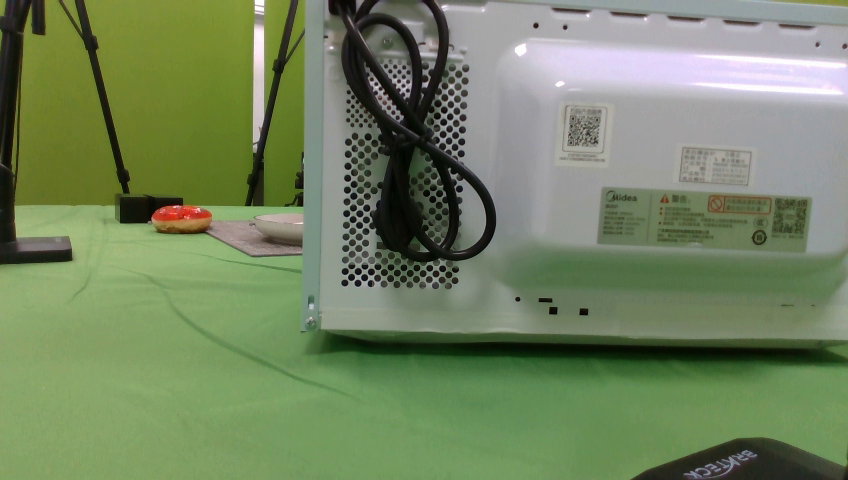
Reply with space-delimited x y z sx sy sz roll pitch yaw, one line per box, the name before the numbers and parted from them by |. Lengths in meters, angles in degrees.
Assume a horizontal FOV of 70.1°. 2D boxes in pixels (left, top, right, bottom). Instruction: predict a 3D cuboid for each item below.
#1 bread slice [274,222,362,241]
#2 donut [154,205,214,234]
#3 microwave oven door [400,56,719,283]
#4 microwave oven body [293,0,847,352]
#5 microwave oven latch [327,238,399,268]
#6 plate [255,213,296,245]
bread slice | -0.181 -0.016 1.011 0.104 0.019 0.132 6 8 27
donut | -0.426 -0.037 1.075 0.099 0.048 0.099 2 12 0
microwave oven door | 0.155 -0.078 0.697 0.356 0.243 0.039 2 8 -5
microwave oven body | 0.122 -0.055 0.550 0.442 0.260 0.325 3 7 -5
microwave oven latch | -0.069 0.015 0.694 0.079 0.029 0.030 3 7 -3
plate | -0.177 -0.017 1.017 0.208 0.039 0.207 2 7 0
